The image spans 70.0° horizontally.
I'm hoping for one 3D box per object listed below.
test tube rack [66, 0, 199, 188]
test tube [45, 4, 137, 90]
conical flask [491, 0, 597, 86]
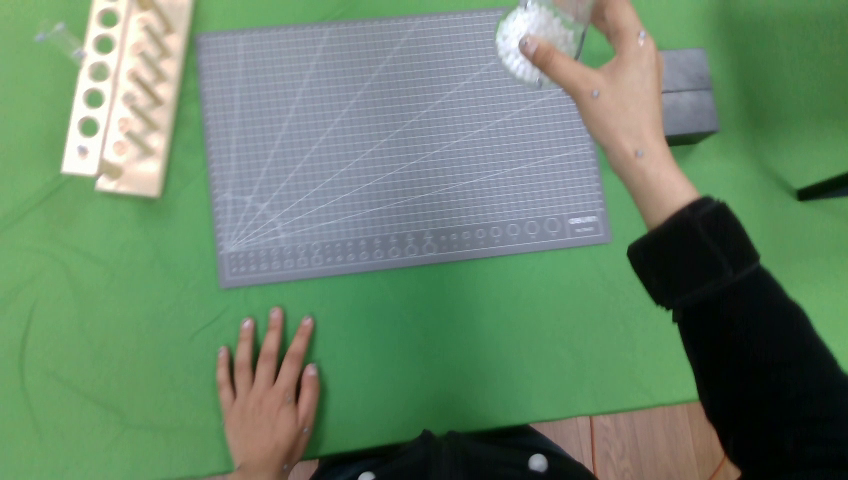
[{"bbox_3d":[-0.305,-0.186,0.648,0.067,0.085,0.241,8,83,-4],"label":"test tube rack"},{"bbox_3d":[-0.322,-0.184,0.597,0.017,0.150,0.017,0,80,-1],"label":"test tube"},{"bbox_3d":[0.101,-0.172,0.450,0.075,0.122,0.075,2,80,-11],"label":"conical flask"}]
